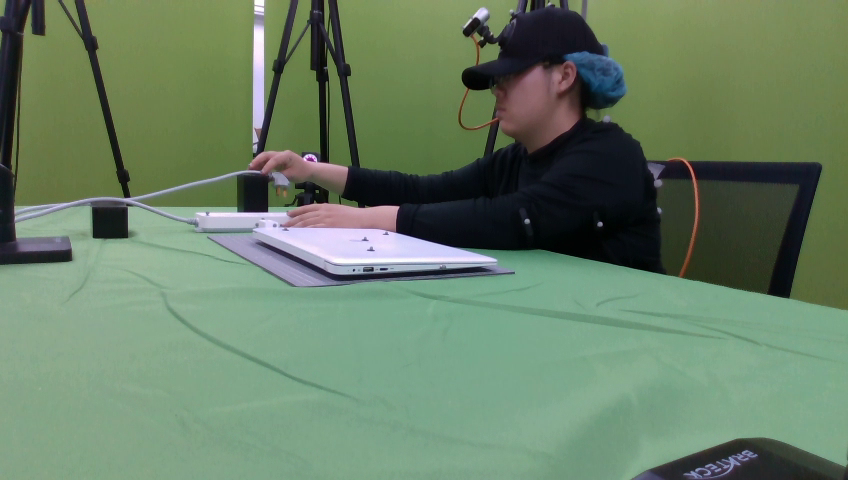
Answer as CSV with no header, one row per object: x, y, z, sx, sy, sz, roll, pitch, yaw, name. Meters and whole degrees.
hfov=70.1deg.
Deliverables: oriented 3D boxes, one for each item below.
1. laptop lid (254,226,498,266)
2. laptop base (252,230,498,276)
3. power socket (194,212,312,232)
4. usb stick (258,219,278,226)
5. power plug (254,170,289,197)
-0.086,0.005,0.876,0.243,0.013,0.355,1,7,-30,laptop lid
-0.089,0.016,0.876,0.237,0.023,0.352,2,6,-32,laptop base
-0.322,-0.036,1.152,0.228,0.032,0.072,-2,8,-34,power socket
-0.255,-0.019,0.996,0.021,0.027,0.059,-2,12,-29,usb stick
-0.323,-0.119,1.283,0.073,0.052,0.035,2,-11,-14,power plug
